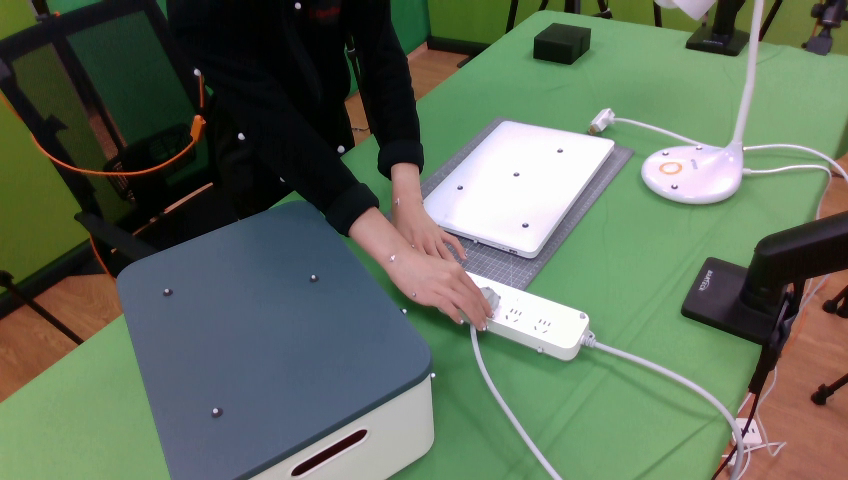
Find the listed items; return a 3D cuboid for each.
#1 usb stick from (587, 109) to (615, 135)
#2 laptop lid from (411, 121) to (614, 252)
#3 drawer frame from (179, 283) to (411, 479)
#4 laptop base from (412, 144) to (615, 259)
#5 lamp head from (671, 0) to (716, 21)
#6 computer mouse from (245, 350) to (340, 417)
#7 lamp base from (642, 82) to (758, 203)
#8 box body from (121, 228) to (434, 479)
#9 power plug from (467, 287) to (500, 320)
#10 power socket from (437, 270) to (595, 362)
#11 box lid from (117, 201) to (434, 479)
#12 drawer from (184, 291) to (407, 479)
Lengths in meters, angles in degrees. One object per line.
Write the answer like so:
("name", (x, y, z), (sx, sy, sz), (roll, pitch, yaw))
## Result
("usb stick", (0.344, -0.229, 1.184), (0.059, 0.021, 0.027), (-47, 22, -8))
("laptop lid", (0.164, -0.112, 1.068), (0.240, 0.013, 0.357), (19, 46, 31))
("drawer frame", (-0.155, 0.179, 0.727), (0.202, 0.083, 0.211), (-28, 49, -20))
("laptop base", (0.167, -0.102, 1.075), (0.234, 0.023, 0.355), (17, 46, 30))
("lamp head", (0.375, -0.373, 0.807), (0.122, 0.113, 0.112), (-40, 27, 32))
("computer mouse", (-0.164, 0.173, 0.754), (0.118, 0.041, 0.062), (-18, 33, -18))
("lamp base", (0.464, -0.174, 0.992), (0.179, 0.181, 0.159), (-5, 41, -1))
("box body", (-0.175, 0.142, 0.724), (0.255, 0.161, 0.360), (-25, 43, -20))
("power plug", (0.072, 0.092, 0.813), (0.035, 0.053, 0.073), (30, 53, 35))
("power socket", (0.119, 0.101, 0.832), (0.225, 0.033, 0.072), (20, 48, 27))
("box lid", (-0.182, 0.087, 0.675), (0.264, 0.015, 0.368), (-25, 42, -20))
("drawer", (-0.155, 0.180, 0.720), (0.195, 0.073, 0.210), (-27, 40, -21))
